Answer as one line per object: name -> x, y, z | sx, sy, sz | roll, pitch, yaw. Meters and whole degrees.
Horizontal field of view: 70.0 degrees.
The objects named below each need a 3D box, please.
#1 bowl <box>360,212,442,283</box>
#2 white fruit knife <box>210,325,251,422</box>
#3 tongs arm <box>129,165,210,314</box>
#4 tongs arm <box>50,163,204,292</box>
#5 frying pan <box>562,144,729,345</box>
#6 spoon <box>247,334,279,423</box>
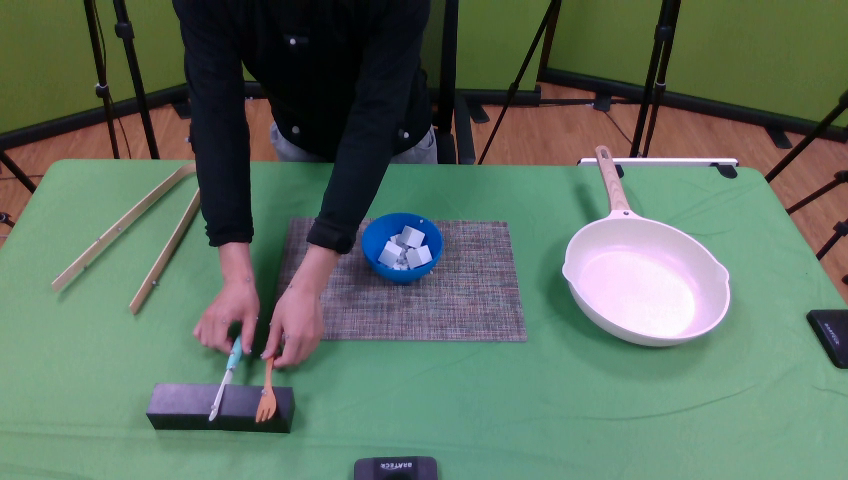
bowl -> -0.044, 0.026, 1.125 | 0.151, 0.077, 0.150 | 2, 46, -2
white fruit knife -> -0.300, 0.200, 0.941 | 0.016, 0.027, 0.206 | -3, 32, 1
tongs arm -> -0.483, -0.015, 1.171 | 0.028, 0.028, 0.385 | 5, 46, 4
tongs arm -> -0.561, -0.036, 1.178 | 0.050, 0.026, 0.383 | 17, 46, 10
frying pan -> 0.397, -0.008, 1.179 | 0.307, 0.103, 0.484 | 1, 55, -4
spoon -> -0.241, 0.206, 0.932 | 0.041, 0.022, 0.192 | -27, 32, 12
